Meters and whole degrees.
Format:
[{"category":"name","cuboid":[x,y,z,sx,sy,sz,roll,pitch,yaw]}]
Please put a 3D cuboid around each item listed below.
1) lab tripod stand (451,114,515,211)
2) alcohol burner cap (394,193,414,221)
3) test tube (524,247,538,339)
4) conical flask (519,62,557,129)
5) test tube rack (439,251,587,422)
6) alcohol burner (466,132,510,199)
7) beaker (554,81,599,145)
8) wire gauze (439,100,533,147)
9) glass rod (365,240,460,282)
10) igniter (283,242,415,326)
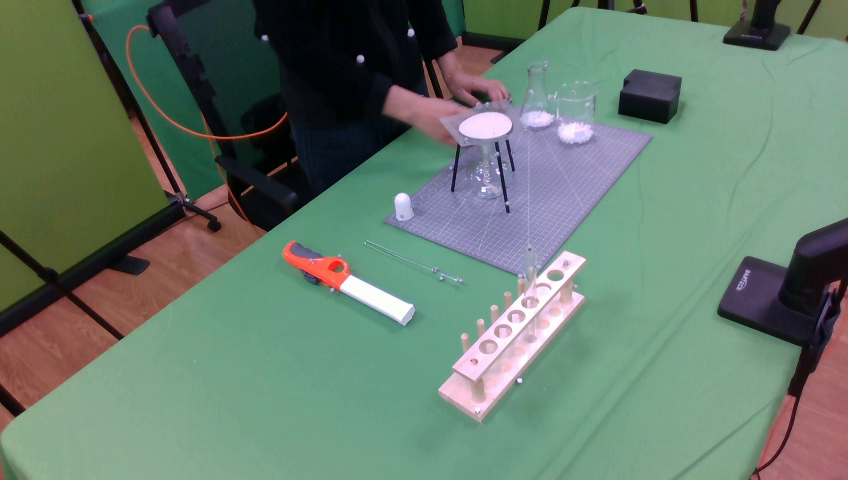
[{"category":"lab tripod stand","cuboid":[0.113,-0.140,1.037,0.148,0.132,0.147,-6,38,5]},{"category":"alcohol burner cap","cuboid":[-0.036,-0.059,1.040,0.034,0.048,0.033,-5,41,5]},{"category":"test tube","cuboid":[0.133,0.070,0.749,0.017,0.151,0.017,-5,38,4]},{"category":"conical flask","cuboid":[0.225,-0.288,1.198,0.075,0.122,0.075,-6,40,5]},{"category":"test tube rack","cuboid":[0.118,0.111,0.780,0.066,0.085,0.243,26,51,35]},{"category":"alcohol burner","cuboid":[0.110,-0.132,1.044,0.078,0.119,0.077,-6,38,5]},{"category":"beaker","cuboid":[0.286,-0.237,1.144,0.084,0.101,0.073,-17,40,-7]},{"category":"wire gauze","cuboid":[0.100,-0.190,0.994,0.125,0.011,0.120,-15,39,-7]},{"category":"glass rod","cuboid":[-0.022,0.032,0.961,0.198,0.008,0.008,21,49,34]},{"category":"igniter","cuboid":[-0.126,0.062,0.931,0.274,0.025,0.057,24,61,33]}]
